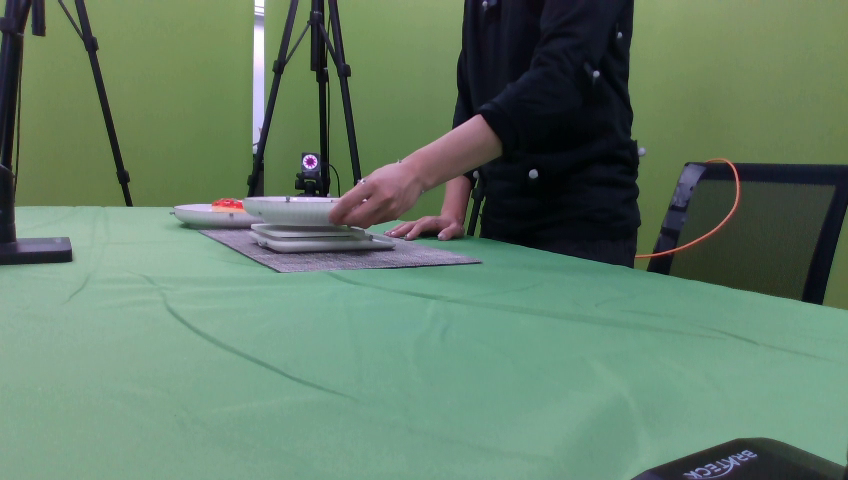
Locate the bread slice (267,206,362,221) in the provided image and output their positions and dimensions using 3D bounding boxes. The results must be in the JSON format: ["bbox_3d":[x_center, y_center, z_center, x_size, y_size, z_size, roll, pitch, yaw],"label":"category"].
[{"bbox_3d":[-0.172,-0.042,0.927,0.132,0.019,0.104,-2,6,-28],"label":"bread slice"}]

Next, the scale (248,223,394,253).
[{"bbox_3d":[-0.162,-0.006,0.954,0.202,0.031,0.148,-2,8,-32],"label":"scale"}]

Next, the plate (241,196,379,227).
[{"bbox_3d":[-0.174,-0.045,0.933,0.209,0.038,0.209,1,6,0],"label":"plate"}]

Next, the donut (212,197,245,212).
[{"bbox_3d":[-0.376,-0.061,1.220,0.099,0.048,0.099,5,4,0],"label":"donut"}]

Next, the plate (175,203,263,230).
[{"bbox_3d":[-0.381,-0.047,1.199,0.208,0.039,0.207,3,7,0],"label":"plate"}]
